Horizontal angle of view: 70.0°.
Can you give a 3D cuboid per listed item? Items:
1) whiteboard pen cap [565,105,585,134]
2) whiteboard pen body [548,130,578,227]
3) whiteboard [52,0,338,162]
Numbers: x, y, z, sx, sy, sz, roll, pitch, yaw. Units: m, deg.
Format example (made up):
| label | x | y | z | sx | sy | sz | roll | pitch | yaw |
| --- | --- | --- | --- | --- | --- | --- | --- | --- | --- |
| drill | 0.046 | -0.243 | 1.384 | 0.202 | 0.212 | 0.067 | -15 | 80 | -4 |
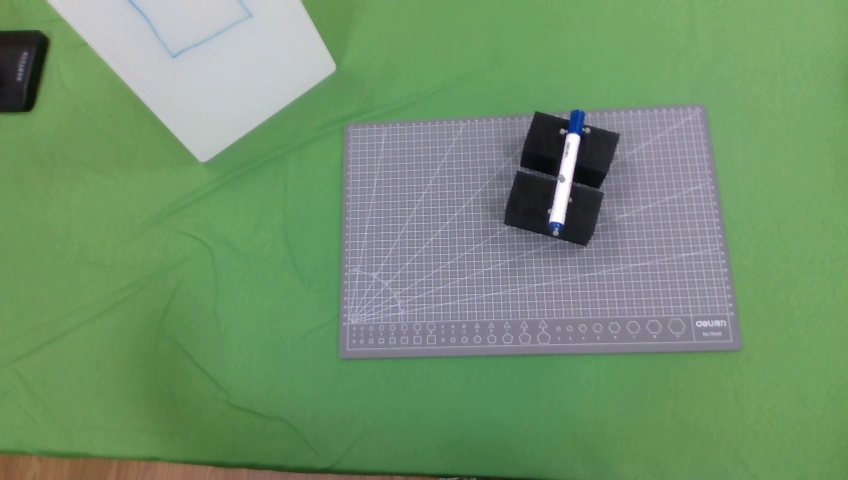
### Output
| label | x | y | z | sx | sy | sz | roll | pitch | yaw |
| --- | --- | --- | --- | --- | --- | --- | --- | --- | --- |
| whiteboard pen cap | 0.171 | -0.135 | 0.689 | 0.018 | 0.018 | 0.033 | 13 | 74 | 8 |
| whiteboard pen body | 0.157 | -0.080 | 0.673 | 0.017 | 0.017 | 0.140 | 12 | 74 | 8 |
| whiteboard | -0.277 | -0.285 | 0.704 | 0.217 | 0.309 | 0.142 | -36 | 55 | -5 |
